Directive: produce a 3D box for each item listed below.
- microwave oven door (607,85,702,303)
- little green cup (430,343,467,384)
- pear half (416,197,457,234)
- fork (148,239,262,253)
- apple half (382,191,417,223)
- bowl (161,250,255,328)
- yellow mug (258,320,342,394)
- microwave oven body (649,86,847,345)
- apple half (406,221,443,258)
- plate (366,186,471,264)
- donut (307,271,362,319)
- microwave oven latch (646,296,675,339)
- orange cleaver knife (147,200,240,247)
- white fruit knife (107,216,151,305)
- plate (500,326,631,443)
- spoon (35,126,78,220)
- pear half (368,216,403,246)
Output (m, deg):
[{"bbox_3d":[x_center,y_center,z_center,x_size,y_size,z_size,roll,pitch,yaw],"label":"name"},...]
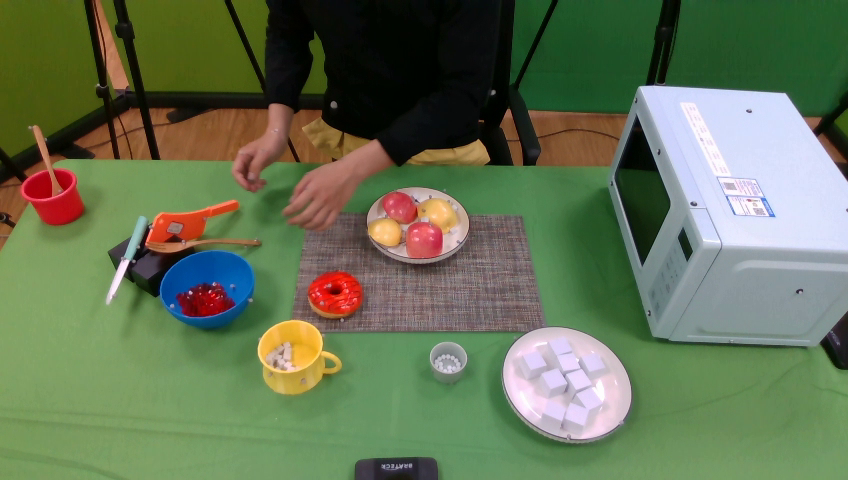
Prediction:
[{"bbox_3d":[0.423,-0.094,1.140,0.039,0.245,0.353,2,46,-1],"label":"microwave oven door"},{"bbox_3d":[0.039,0.203,0.993,0.061,0.039,0.061,2,46,-2],"label":"little green cup"},{"bbox_3d":[0.017,-0.065,1.226,0.076,0.056,0.109,-27,50,-32],"label":"pear half"},{"bbox_3d":[-0.398,0.008,1.117,0.208,0.019,0.028,-5,34,-37],"label":"fork"},{"bbox_3d":[-0.043,-0.072,1.225,0.081,0.033,0.081,19,41,-17],"label":"apple half"},{"bbox_3d":[-0.362,0.097,1.040,0.151,0.077,0.150,2,45,-2],"label":"bowl"},{"bbox_3d":[-0.196,0.189,0.971,0.131,0.064,0.099,9,46,4],"label":"yellow mug"},{"bbox_3d":[0.568,-0.053,1.118,0.326,0.261,0.439,2,45,-1],"label":"microwave oven body"},{"bbox_3d":[0.001,-0.006,1.163,0.075,0.053,0.080,5,42,-1],"label":"apple half"},{"bbox_3d":[-0.013,-0.027,1.207,0.209,0.038,0.208,2,46,-2],"label":"plate"},{"bbox_3d":[-0.157,0.097,1.073,0.099,0.048,0.098,4,45,-4],"label":"donut"},{"bbox_3d":[0.412,0.134,1.061,0.030,0.029,0.078,4,45,1],"label":"microwave oven latch"},{"bbox_3d":[-0.435,-0.033,1.157,0.012,0.077,0.211,31,26,18],"label":"orange cleaver knife"},{"bbox_3d":[-0.518,0.032,1.066,0.027,0.016,0.206,-19,45,19],"label":"white fruit knife"},{"bbox_3d":[0.224,0.234,0.978,0.208,0.039,0.206,2,46,-2],"label":"plate"},{"bbox_3d":[-0.725,-0.132,1.188,0.041,0.021,0.194,-18,95,-19],"label":"spoon"},{"bbox_3d":[-0.070,-0.026,1.183,0.070,0.031,0.087,32,46,-2],"label":"pear half"}]
